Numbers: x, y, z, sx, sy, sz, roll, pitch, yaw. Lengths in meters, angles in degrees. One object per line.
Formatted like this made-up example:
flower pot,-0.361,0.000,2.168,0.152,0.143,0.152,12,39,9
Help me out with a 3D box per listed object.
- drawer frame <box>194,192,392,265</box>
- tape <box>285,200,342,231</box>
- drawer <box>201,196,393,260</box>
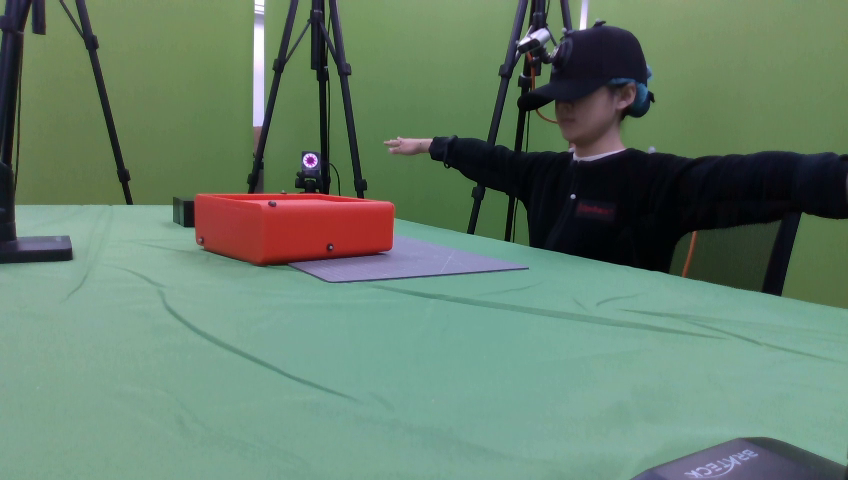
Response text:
drawer frame,-0.190,-0.024,0.882,0.215,0.082,0.200,-5,11,-44
tape,-0.223,-0.051,1.221,0.117,0.052,0.117,3,7,0
drawer,-0.186,-0.023,0.886,0.213,0.073,0.193,-5,12,-43
